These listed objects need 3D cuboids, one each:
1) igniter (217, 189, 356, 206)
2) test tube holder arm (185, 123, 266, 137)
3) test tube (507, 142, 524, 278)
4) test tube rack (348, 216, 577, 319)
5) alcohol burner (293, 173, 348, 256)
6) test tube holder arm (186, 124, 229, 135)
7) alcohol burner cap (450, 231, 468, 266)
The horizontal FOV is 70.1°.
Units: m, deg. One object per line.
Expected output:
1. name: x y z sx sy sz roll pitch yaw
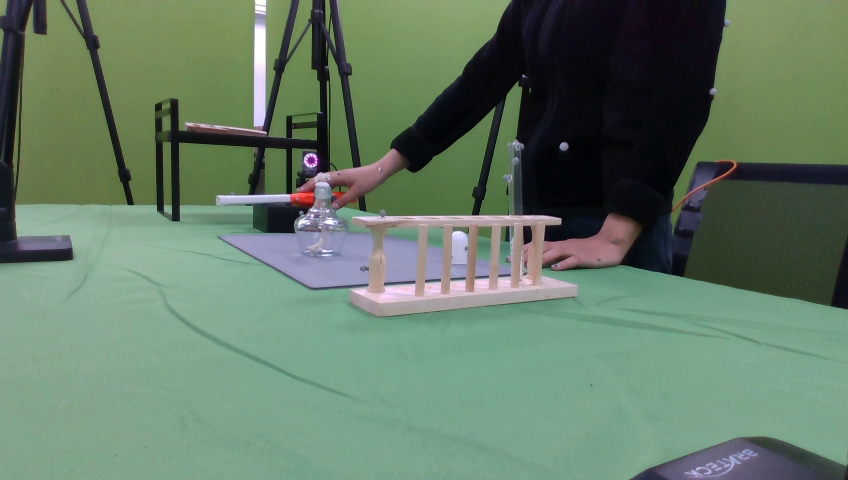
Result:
1. igniter: -0.252 -0.081 1.156 0.278 0.025 0.057 -5 7 -33
2. test tube holder arm: -0.433 -0.242 1.333 0.179 0.015 0.013 -4 48 -42
3. test tube: 0.101 -0.032 0.666 0.017 0.150 0.017 -2 6 1
4. test tube rack: 0.048 0.021 0.619 0.244 0.085 0.066 -2 9 -31
5. alcohol burner: -0.146 -0.036 0.859 0.078 0.119 0.078 4 8 0
6. test tube holder arm: -0.464 -0.236 1.300 0.088 0.015 0.010 -2 47 -41
7. alcohol burner cap: 0.046 0.012 0.838 0.034 0.048 0.034 3 6 0
